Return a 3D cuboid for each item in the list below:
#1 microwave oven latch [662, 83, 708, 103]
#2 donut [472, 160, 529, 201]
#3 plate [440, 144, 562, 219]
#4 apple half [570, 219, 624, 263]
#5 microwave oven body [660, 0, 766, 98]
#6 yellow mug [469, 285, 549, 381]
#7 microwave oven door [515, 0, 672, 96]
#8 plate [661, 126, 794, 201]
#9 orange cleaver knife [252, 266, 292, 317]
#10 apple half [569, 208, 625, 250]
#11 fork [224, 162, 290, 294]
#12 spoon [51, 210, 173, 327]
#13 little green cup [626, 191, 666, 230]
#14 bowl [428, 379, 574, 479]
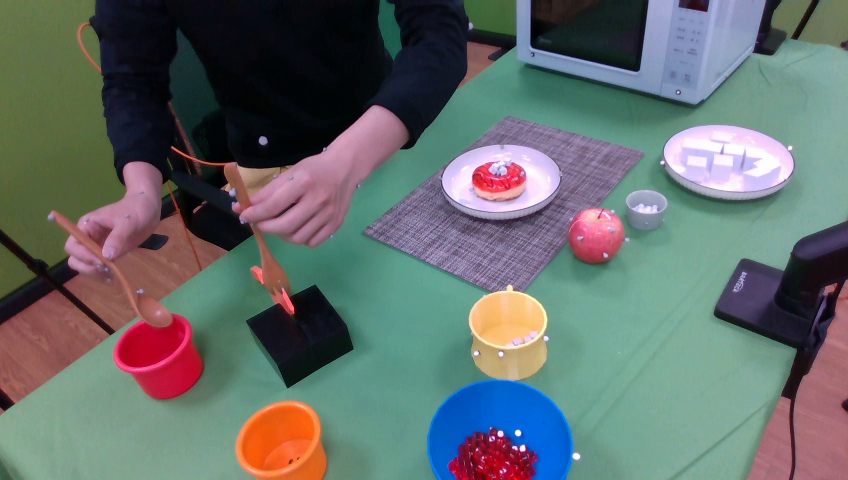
[{"bbox_3d":[0.518,-0.296,1.204,0.078,0.029,0.030,27,52,35],"label":"microwave oven latch"},{"bbox_3d":[0.132,-0.105,1.043,0.099,0.048,0.098,-5,37,4],"label":"donut"},{"bbox_3d":[0.134,-0.098,1.051,0.209,0.038,0.208,-4,40,4],"label":"plate"},{"bbox_3d":[0.250,0.009,0.885,0.081,0.081,0.033,7,39,17],"label":"apple half"},{"bbox_3d":[0.472,-0.513,1.317,0.438,0.261,0.327,26,51,34],"label":"microwave oven body"},{"bbox_3d":[0.113,0.112,0.792,0.100,0.064,0.130,0,40,9],"label":"yellow mug"},{"bbox_3d":[0.344,-0.454,1.259,0.353,0.245,0.039,26,51,33],"label":"microwave oven door"},{"bbox_3d":[0.513,-0.127,1.035,0.207,0.039,0.206,-4,40,4],"label":"plate"},{"bbox_3d":[-0.221,0.071,0.874,0.012,0.077,0.210,-24,10,-21],"label":"orange cleaver knife"},{"bbox_3d":[0.262,-0.014,0.913,0.080,0.075,0.053,4,37,20],"label":"apple half"},{"bbox_3d":[-0.176,-0.004,0.646,0.028,0.208,0.018,-12,45,-5],"label":"fork"},{"bbox_3d":[-0.377,0.037,0.739,0.021,0.195,0.041,-22,29,13],"label":"spoon"},{"bbox_3d":[0.352,-0.046,0.963,0.061,0.039,0.061,-4,40,4],"label":"little green cup"},{"bbox_3d":[0.082,0.233,0.644,0.151,0.077,0.150,-4,40,4],"label":"bowl"}]
